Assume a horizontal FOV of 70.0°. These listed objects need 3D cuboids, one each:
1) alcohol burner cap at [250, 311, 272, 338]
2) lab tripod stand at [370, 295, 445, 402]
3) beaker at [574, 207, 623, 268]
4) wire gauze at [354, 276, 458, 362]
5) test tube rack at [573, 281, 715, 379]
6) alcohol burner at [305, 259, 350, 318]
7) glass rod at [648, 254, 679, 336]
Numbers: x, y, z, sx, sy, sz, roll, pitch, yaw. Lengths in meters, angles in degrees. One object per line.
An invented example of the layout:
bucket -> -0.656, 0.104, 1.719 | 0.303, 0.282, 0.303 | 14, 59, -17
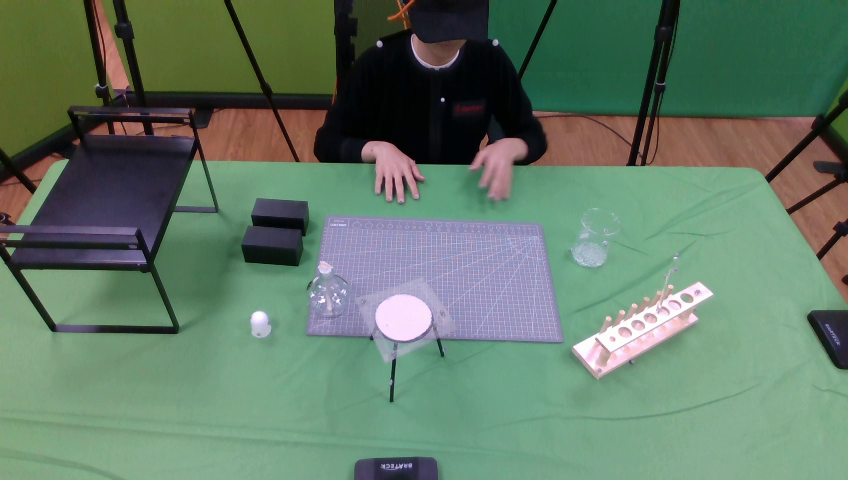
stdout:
alcohol burner cap -> -0.278, 0.141, 1.025 | 0.034, 0.048, 0.033 | 1, 47, -1
lab tripod stand -> -0.036, 0.160, 0.959 | 0.148, 0.132, 0.147 | 1, 46, 0
beaker -> 0.334, -0.003, 1.165 | 0.084, 0.101, 0.073 | -18, 50, -21
wire gauze -> -0.029, 0.113, 0.912 | 0.121, 0.011, 0.124 | -18, 49, -19
test tube rack -> 0.378, 0.140, 1.038 | 0.242, 0.085, 0.066 | -22, 51, -22
alcohol burner -> -0.166, 0.078, 1.040 | 0.078, 0.120, 0.077 | 1, 44, -1
glass rod -> 0.391, 0.094, 0.991 | 0.008, 0.201, 0.008 | -2, 44, 2
